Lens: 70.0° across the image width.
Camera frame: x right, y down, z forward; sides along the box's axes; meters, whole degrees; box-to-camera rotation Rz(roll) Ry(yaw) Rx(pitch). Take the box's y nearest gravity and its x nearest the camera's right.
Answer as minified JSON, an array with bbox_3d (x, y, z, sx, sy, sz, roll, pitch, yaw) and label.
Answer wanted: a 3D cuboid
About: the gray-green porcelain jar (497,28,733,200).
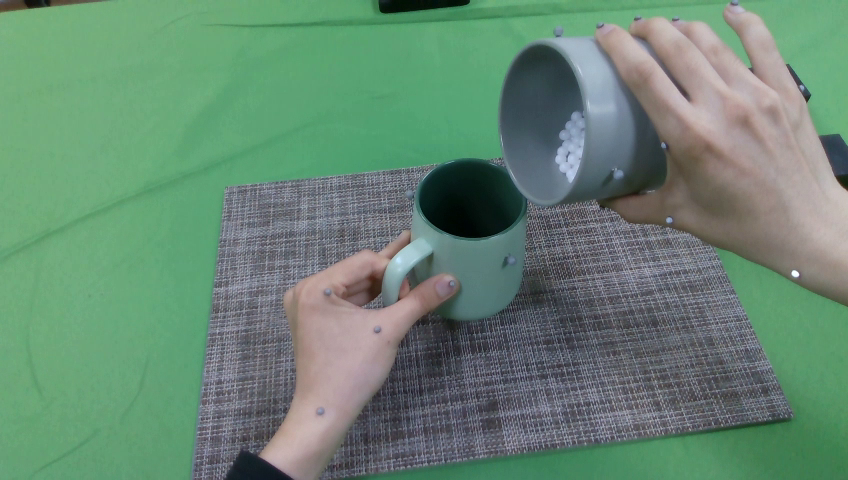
[{"bbox_3d":[0.129,-0.087,0.408,0.127,0.106,0.104,-10,53,-21],"label":"gray-green porcelain jar"}]

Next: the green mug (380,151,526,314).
[{"bbox_3d":[0.019,0.006,0.454,0.125,0.106,0.091,-36,61,-23],"label":"green mug"}]
